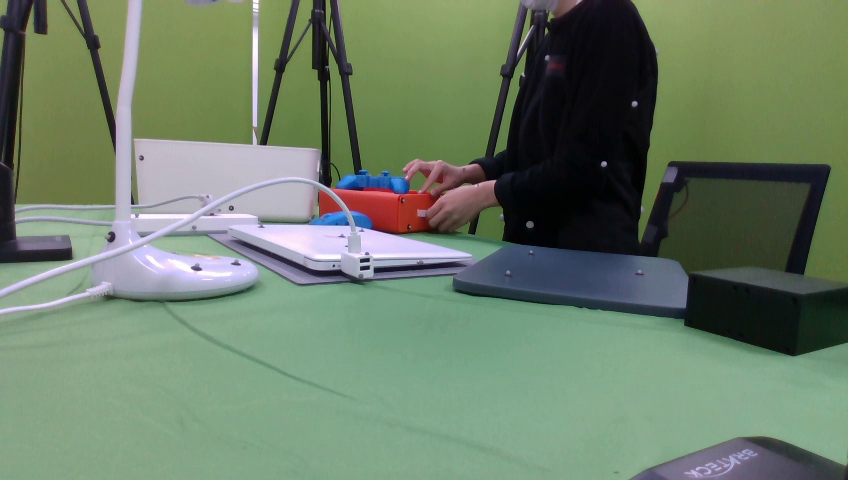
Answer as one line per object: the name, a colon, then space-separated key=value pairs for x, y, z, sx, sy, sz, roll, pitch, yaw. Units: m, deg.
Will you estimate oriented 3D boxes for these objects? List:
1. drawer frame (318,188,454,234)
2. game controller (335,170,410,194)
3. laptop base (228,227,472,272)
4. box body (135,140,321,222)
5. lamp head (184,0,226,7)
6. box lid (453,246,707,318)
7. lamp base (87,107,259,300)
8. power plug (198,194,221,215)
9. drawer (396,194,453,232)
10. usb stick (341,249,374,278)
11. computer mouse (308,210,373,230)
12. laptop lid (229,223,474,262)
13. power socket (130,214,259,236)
drawer frame: x=-0.078 y=-0.068 z=1.284 sx=0.212 sy=0.082 sz=0.202 roll=7 pitch=9 yaw=34
game controller: x=-0.104 y=-0.121 z=1.290 sx=0.155 sy=0.051 sz=0.097 roll=5 pitch=5 yaw=9
laptop base: x=-0.124 y=0.011 z=0.889 sx=0.237 sy=0.023 sz=0.352 roll=2 pitch=6 yaw=-35
box body: x=-0.420 y=-0.133 z=1.354 sx=0.365 sy=0.160 sz=0.253 roll=2 pitch=7 yaw=-8
lamp head: x=-0.229 y=-0.320 z=0.627 sx=0.112 sy=0.112 sz=0.123 roll=6 pitch=-35 yaw=26
box lid: x=0.203 y=0.044 z=0.780 sx=0.262 sy=0.015 sz=0.372 roll=5 pitch=7 yaw=17
lamp base: x=-0.254 y=-0.039 z=0.603 sx=0.160 sy=0.180 sz=0.179 roll=5 pitch=10 yaw=18
power plug: x=-0.386 y=-0.055 z=1.088 sx=0.035 sy=0.052 sz=0.072 roll=-2 pitch=7 yaw=-24
drawer: x=-0.075 y=-0.066 z=1.284 sx=0.211 sy=0.073 sz=0.195 roll=6 pitch=9 yaw=33
usb stick: x=-0.079 y=0.026 z=0.686 sx=0.021 sy=0.027 sz=0.059 roll=-7 pitch=9 yaw=-30
computer mouse: x=-0.157 y=-0.033 z=1.138 sx=0.118 sy=0.041 sz=0.062 roll=-6 pitch=12 yaw=-28
laptop lid: x=-0.121 y=0.000 z=0.888 sx=0.243 sy=0.013 sz=0.355 roll=1 pitch=7 yaw=-33
power socket: x=-0.397 y=-0.028 z=1.048 sx=0.228 sy=0.032 sz=0.072 roll=-3 pitch=7 yaw=-35
